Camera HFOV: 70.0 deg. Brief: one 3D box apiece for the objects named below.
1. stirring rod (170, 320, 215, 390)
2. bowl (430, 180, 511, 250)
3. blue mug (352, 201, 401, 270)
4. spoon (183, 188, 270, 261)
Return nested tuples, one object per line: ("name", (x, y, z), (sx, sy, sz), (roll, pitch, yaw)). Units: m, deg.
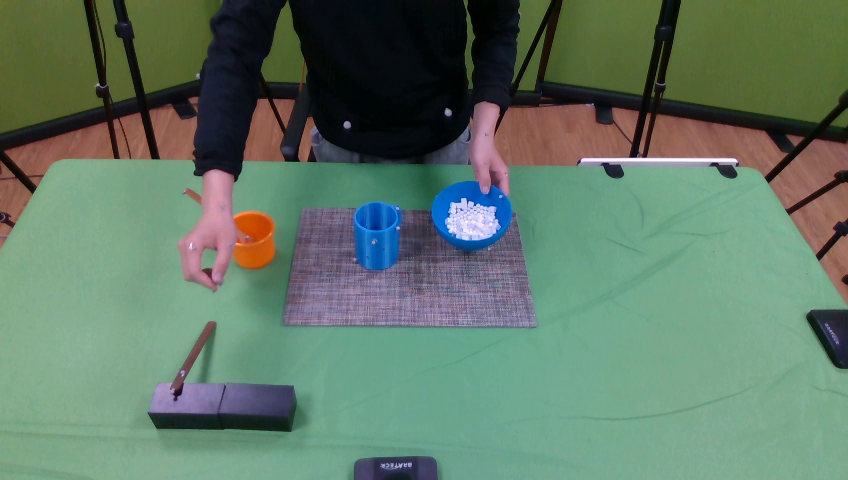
("stirring rod", (-0.368, 0.180, 0.969), (0.014, 0.006, 0.175), (0, 27, 0))
("bowl", (0.087, -0.033, 1.144), (0.151, 0.077, 0.150), (-1, 52, 2))
("blue mug", (-0.082, -0.017, 1.144), (0.082, 0.106, 0.116), (30, 51, 23))
("spoon", (-0.360, -0.029, 1.110), (0.021, 0.194, 0.041), (-23, 30, 39))
